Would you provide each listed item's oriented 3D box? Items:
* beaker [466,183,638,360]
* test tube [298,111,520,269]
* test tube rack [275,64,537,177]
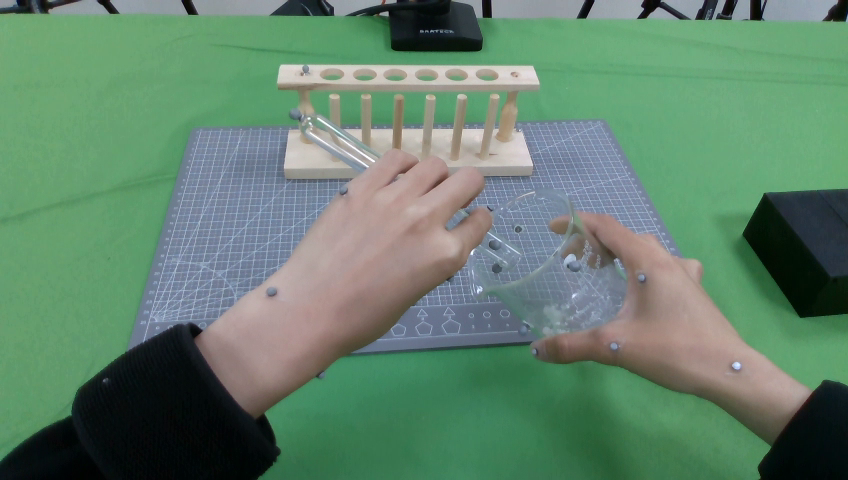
[{"bbox_3d":[0.083,0.027,0.386,0.084,0.101,0.073,-49,32,-3],"label":"beaker"},{"bbox_3d":[-0.006,-0.027,0.349,0.151,0.017,0.017,33,44,-15],"label":"test tube"},{"bbox_3d":[-0.016,-0.116,0.587,0.243,0.086,0.066,-1,45,-5],"label":"test tube rack"}]
